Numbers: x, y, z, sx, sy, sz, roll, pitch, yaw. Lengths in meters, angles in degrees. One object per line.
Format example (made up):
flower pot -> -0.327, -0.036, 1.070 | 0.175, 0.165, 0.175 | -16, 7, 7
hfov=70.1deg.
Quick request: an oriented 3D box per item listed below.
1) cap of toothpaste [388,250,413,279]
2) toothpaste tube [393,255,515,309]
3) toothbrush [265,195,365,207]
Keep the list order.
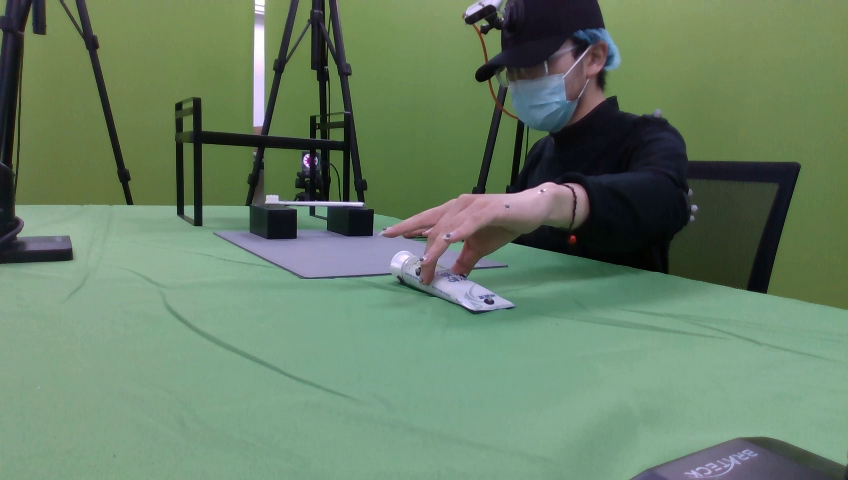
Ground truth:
cap of toothpaste -> -0.024, 0.030, 0.699 | 0.037, 0.037, 0.011 | -3, 13, -36
toothpaste tube -> 0.019, 0.046, 0.636 | 0.055, 0.034, 0.164 | -7, 15, -35
toothbrush -> -0.192, -0.068, 1.082 | 0.183, 0.016, 0.014 | 1, -8, -26
